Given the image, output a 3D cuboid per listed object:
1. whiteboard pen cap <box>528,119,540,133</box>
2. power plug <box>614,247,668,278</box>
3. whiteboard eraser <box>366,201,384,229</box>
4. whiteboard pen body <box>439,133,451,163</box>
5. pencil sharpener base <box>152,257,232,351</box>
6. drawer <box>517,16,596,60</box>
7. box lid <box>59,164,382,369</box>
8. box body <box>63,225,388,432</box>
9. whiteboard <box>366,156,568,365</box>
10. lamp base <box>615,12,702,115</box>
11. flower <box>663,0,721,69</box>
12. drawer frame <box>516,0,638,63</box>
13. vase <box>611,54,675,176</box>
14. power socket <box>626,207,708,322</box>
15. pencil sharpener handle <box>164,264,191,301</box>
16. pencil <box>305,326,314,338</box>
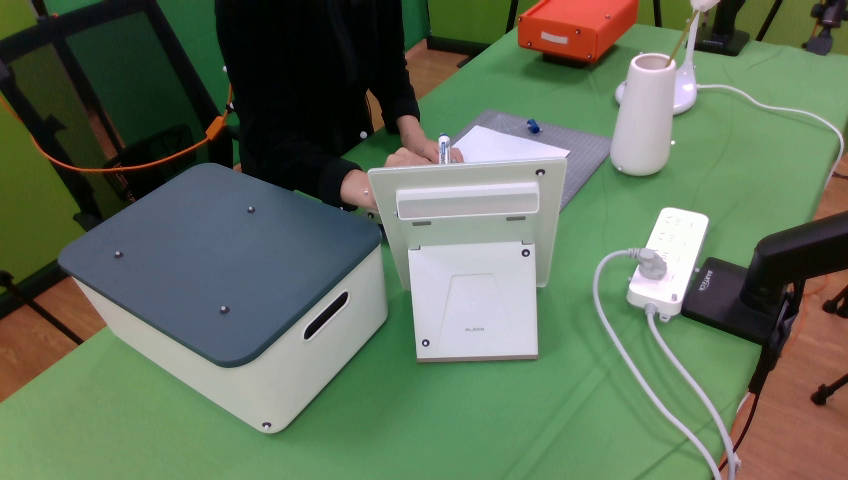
[{"bbox_3d":[0.221,-0.229,1.211,0.018,0.018,0.033,-13,40,-7],"label":"whiteboard pen cap"},{"bbox_3d":[0.306,0.031,0.851,0.072,0.053,0.035,24,49,33],"label":"power plug"},{"bbox_3d":[-0.038,-0.038,1.006,0.112,0.042,0.055,17,47,25],"label":"whiteboard eraser"},{"bbox_3d":[0.027,-0.084,0.779,0.017,0.017,0.140,-3,56,5],"label":"whiteboard pen body"},{"bbox_3d":[-0.322,0.088,0.841,0.061,0.107,0.076,-27,44,-20],"label":"pencil sharpener base"},{"bbox_3d":[0.353,-0.506,1.405,0.193,0.073,0.212,23,49,32],"label":"drawer"},{"bbox_3d":[-0.263,0.010,0.777,0.368,0.015,0.264,20,47,29],"label":"box lid"},{"bbox_3d":[-0.256,0.065,0.827,0.361,0.161,0.255,20,48,29],"label":"box body"},{"bbox_3d":[0.059,0.050,0.738,0.217,0.307,0.143,-2,60,6],"label":"whiteboard"},{"bbox_3d":[0.484,-0.363,1.211,0.180,0.181,0.159,-15,41,-14],"label":"lamp base"},{"bbox_3d":[0.379,-0.261,0.965,0.044,0.362,0.038,20,53,5],"label":"flower"},{"bbox_3d":[0.355,-0.508,1.410,0.200,0.083,0.214,23,51,32],"label":"drawer frame"},{"bbox_3d":[0.377,-0.209,1.031,0.098,0.201,0.097,-3,40,3],"label":"vase"},{"bbox_3d":[0.359,0.026,0.886,0.072,0.033,0.227,16,46,26],"label":"power socket"},{"bbox_3d":[-0.354,0.055,0.866,0.036,0.068,0.030,-17,39,-29],"label":"pencil sharpener handle"},{"bbox_3d":[-0.187,0.106,0.880,0.012,0.012,0.192,-27,41,-22],"label":"pencil"}]
